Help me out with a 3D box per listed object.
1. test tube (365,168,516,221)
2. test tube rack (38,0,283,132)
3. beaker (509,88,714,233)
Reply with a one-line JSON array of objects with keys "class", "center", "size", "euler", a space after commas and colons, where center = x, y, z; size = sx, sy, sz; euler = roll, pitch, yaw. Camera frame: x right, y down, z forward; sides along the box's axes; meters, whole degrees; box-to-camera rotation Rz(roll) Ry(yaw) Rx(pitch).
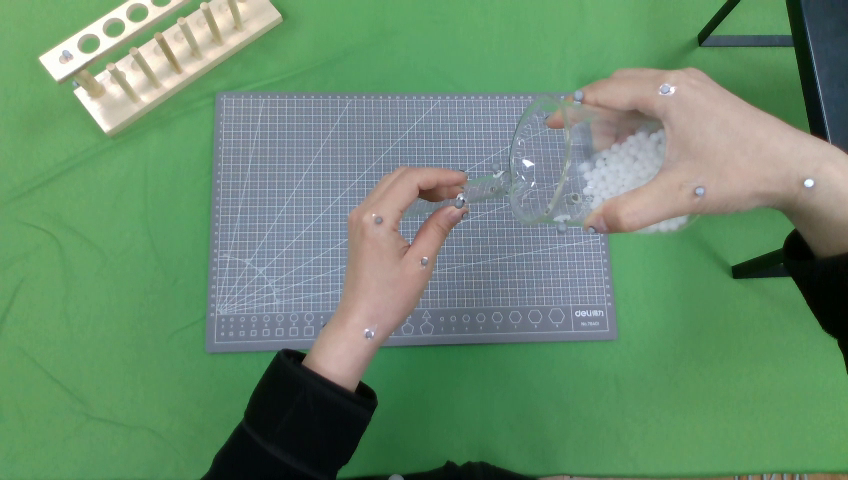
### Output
[{"class": "test tube", "center": [0.005, -0.030, 0.437], "size": [0.017, 0.149, 0.017], "euler": [7, 79, -41]}, {"class": "test tube rack", "center": [-0.281, -0.229, 0.673], "size": [0.242, 0.085, 0.066], "euler": [-38, 82, -11]}, {"class": "beaker", "center": [0.108, -0.042, 0.360], "size": [0.101, 0.084, 0.073], "euler": [5, 76, -16]}]
